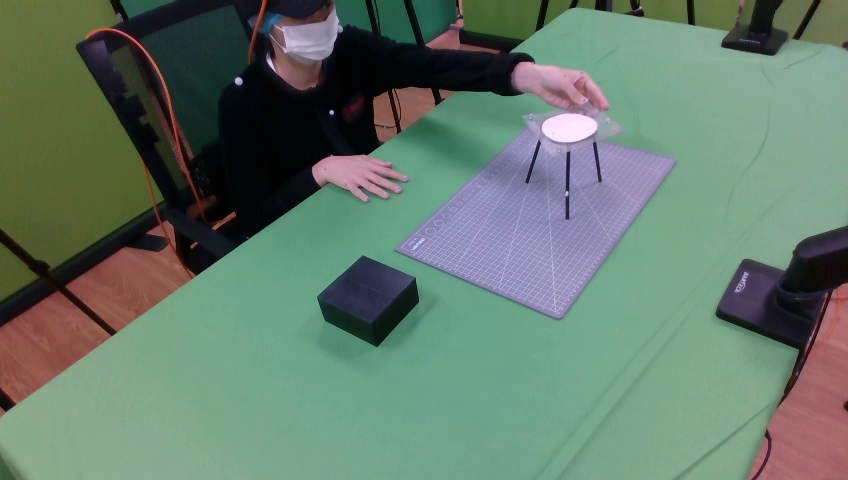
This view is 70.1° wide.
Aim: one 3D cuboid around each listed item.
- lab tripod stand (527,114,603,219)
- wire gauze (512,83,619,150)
[{"bbox_3d":[0.235,-0.129,1.002,0.148,0.132,0.147,-6,40,6],"label":"lab tripod stand"},{"bbox_3d":[0.221,-0.193,0.950,0.125,0.011,0.120,-34,50,-17],"label":"wire gauze"}]
